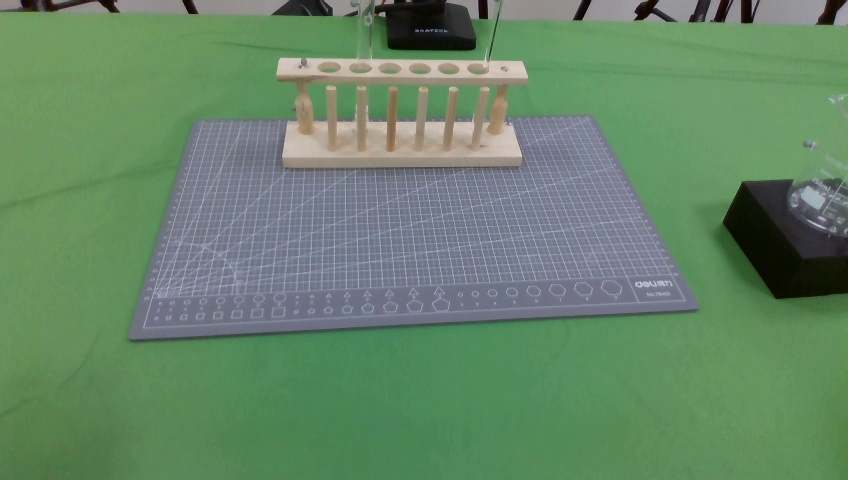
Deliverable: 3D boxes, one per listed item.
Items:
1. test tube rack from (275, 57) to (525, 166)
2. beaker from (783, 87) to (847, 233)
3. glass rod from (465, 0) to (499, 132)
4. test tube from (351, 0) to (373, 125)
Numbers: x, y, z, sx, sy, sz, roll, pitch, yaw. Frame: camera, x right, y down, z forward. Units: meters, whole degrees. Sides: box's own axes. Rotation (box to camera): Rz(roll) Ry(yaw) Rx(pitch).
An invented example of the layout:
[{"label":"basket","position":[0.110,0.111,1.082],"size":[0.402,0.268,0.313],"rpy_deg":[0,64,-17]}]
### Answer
[{"label":"test tube rack","position":[-0.023,-0.129,0.611],"size":[0.243,0.086,0.066],"rpy_deg":[-1,44,-6]},{"label":"beaker","position":[0.346,-0.063,0.492],"size":[0.074,0.101,0.083],"rpy_deg":[-25,50,-27]},{"label":"glass rod","position":[0.059,-0.186,0.580],"size":[0.008,0.201,0.008],"rpy_deg":[5,46,-5]},{"label":"test tube","position":[-0.060,-0.177,0.586],"size":[0.017,0.151,0.017],"rpy_deg":[5,42,-4]}]
